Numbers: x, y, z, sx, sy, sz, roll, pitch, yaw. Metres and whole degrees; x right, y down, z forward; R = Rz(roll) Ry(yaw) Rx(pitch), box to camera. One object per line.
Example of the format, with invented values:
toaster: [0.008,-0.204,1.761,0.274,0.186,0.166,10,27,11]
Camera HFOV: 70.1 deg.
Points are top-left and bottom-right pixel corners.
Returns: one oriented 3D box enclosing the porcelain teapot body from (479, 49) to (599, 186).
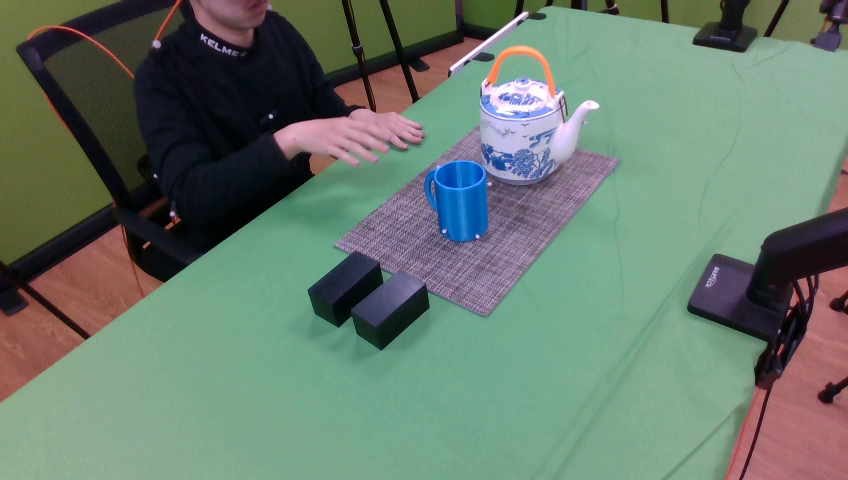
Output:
porcelain teapot body: [0.192,-0.208,1.023,0.204,0.226,0.145,16,46,25]

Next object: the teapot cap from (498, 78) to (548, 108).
teapot cap: [0.165,-0.246,1.010,0.085,0.044,0.084,-4,44,5]

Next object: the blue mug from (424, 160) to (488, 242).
blue mug: [0.047,-0.067,0.970,0.115,0.106,0.082,22,49,30]
